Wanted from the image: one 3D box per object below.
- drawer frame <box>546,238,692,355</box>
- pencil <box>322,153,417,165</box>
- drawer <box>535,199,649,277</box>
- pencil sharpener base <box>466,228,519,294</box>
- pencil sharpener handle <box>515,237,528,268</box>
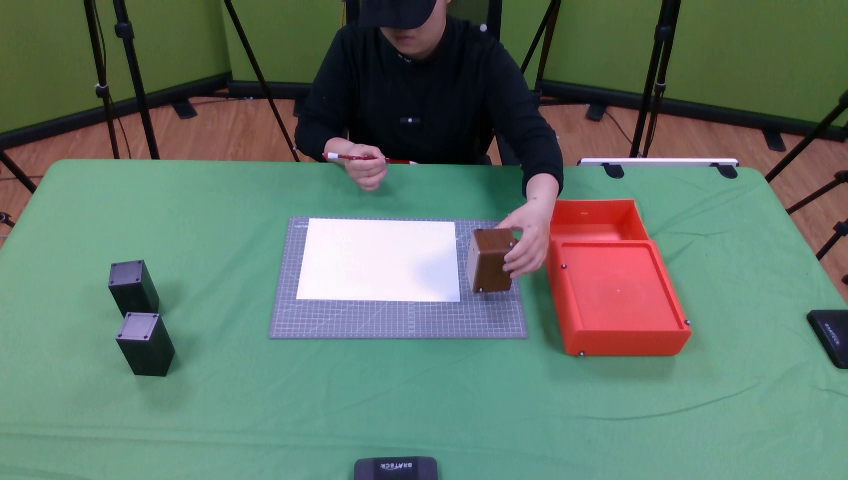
[{"bbox_3d":[0.339,0.097,1.085,0.202,0.083,0.212,0,46,-4],"label":"drawer frame"},{"bbox_3d":[-0.110,-0.163,1.231,0.194,0.012,0.012,5,45,-3],"label":"pencil"},{"bbox_3d":[0.332,0.015,1.168,0.195,0.073,0.210,0,46,-5],"label":"drawer"},{"bbox_3d":[0.119,0.036,1.048,0.077,0.107,0.061,-4,43,-9],"label":"pencil sharpener base"},{"bbox_3d":[0.170,0.023,1.048,0.031,0.068,0.035,-4,47,-9],"label":"pencil sharpener handle"}]
